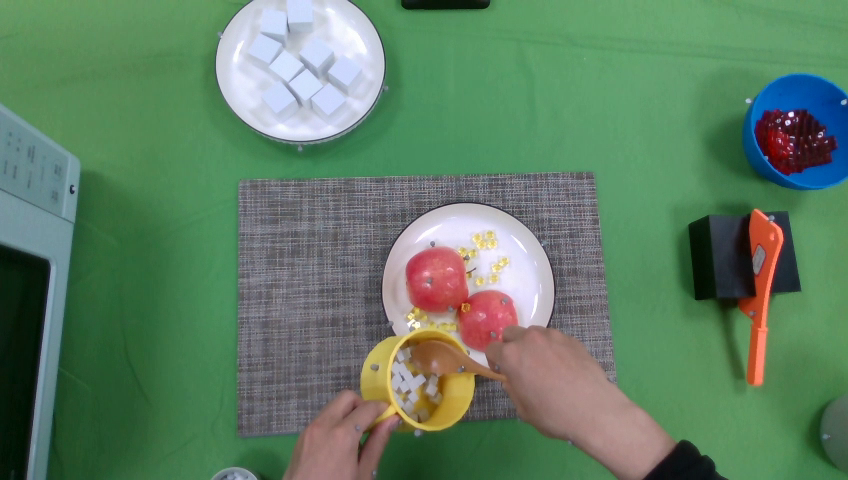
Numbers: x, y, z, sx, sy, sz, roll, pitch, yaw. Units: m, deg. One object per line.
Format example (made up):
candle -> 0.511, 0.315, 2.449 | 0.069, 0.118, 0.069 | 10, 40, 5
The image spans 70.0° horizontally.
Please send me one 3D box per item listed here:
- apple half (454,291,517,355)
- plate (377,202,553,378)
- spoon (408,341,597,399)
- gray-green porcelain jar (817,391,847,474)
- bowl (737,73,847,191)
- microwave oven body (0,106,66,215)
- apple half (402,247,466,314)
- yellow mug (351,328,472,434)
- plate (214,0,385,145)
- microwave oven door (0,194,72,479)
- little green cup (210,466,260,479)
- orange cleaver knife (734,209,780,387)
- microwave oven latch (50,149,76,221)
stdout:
apple half -> 0.074, 0.097, 0.713 | 0.081, 0.033, 0.081 | 1, 76, -4
plate -> 0.048, 0.059, 0.724 | 0.209, 0.038, 0.208 | 1, 80, -5
spoon -> 0.069, 0.129, 0.581 | 0.192, 0.021, 0.042 | 8, 119, 34
gray-green porcelain jar -> 0.532, 0.226, 0.692 | 0.106, 0.127, 0.105 | 1, 79, -5
bowl -> 0.463, -0.128, 0.778 | 0.151, 0.077, 0.150 | 1, 79, -4
microwave oven body -> -0.560, 0.088, 0.553 | 0.326, 0.261, 0.440 | 1, 80, -5
apple half -> 0.012, 0.046, 0.708 | 0.075, 0.053, 0.080 | -5, 81, -3
yellow mug -> -0.020, 0.151, 0.609 | 0.131, 0.064, 0.100 | -35, 95, -32
plate -> -0.154, -0.215, 0.763 | 0.208, 0.039, 0.206 | 1, 79, -5
microwave oven door -> -0.414, 0.132, 0.552 | 0.039, 0.244, 0.354 | 1, 79, -4
little green cup -> -0.207, 0.278, 0.664 | 0.062, 0.038, 0.061 | 1, 80, -7
orange cleaver knife -> 0.396, 0.070, 0.733 | 0.012, 0.077, 0.212 | -1, 103, -1
microwave oven latch -> -0.418, -0.063, 0.692 | 0.030, 0.029, 0.079 | 2, 80, -5
